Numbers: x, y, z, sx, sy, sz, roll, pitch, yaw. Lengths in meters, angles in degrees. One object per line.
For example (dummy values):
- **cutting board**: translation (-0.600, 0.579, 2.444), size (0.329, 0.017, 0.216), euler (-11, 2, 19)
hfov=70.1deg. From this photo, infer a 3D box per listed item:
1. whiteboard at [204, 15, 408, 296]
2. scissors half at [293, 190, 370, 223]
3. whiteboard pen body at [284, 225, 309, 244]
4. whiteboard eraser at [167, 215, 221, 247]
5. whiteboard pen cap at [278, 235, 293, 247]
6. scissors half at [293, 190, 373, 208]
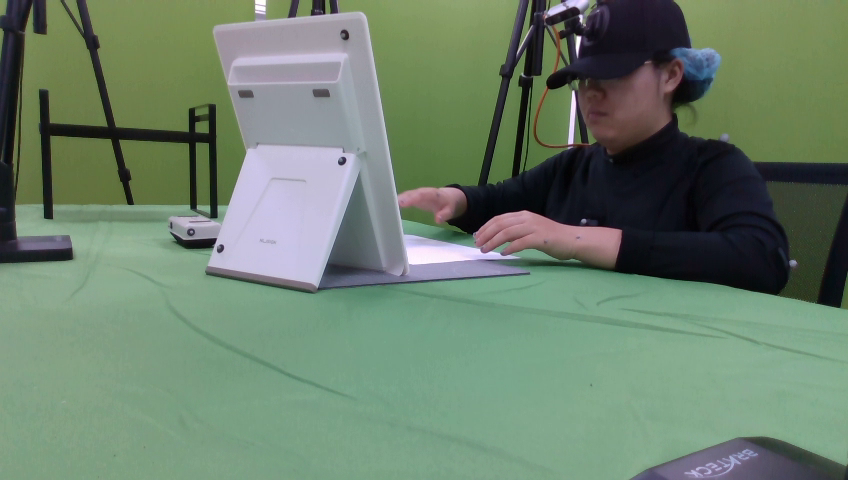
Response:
- **whiteboard**: translation (-0.166, -0.072, 0.669), size (0.216, 0.305, 0.144), euler (8, 30, 30)
- **scissors half**: translation (-0.205, -0.078, 1.338), size (0.175, 0.040, 0.013), euler (22, 11, -8)
- **whiteboard pen body**: translation (-0.208, -0.008, 0.985), size (0.017, 0.017, 0.141), euler (3, 9, 1)
- **whiteboard eraser**: translation (-0.350, -0.014, 0.920), size (0.056, 0.042, 0.112), euler (0, 7, -35)
- **whiteboard pen cap**: translation (-0.211, 0.001, 0.928), size (0.018, 0.018, 0.033), euler (3, 6, 1)
- **scissors half**: translation (-0.201, -0.096, 1.333), size (0.175, 0.040, 0.013), euler (5, 18, -4)
